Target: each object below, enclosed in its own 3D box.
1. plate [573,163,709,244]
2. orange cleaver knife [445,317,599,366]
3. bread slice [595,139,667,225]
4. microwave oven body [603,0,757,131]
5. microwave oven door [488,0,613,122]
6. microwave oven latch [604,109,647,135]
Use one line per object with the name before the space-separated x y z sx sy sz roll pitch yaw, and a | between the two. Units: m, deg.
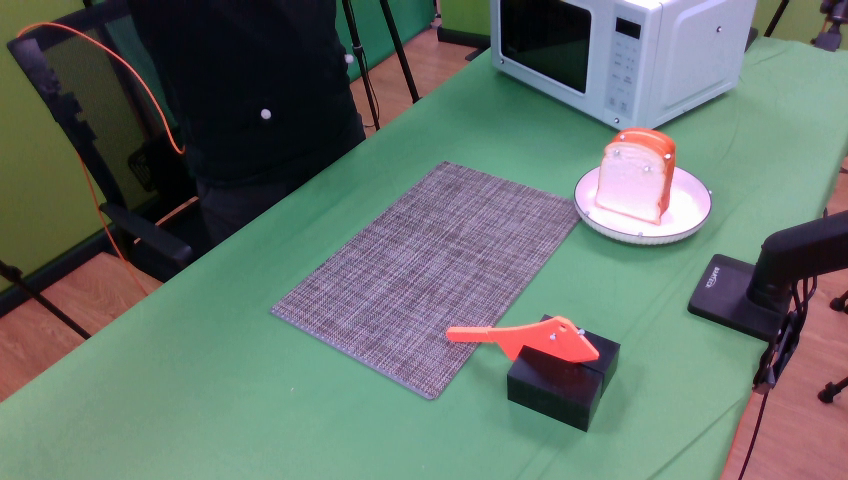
plate | 0.347 -0.059 0.979 0.207 0.039 0.206 -4 41 4
orange cleaver knife | 0.115 0.129 0.751 0.210 0.077 0.012 -11 30 45
bread slice | 0.321 -0.093 0.936 0.106 0.135 0.018 17 44 31
microwave oven body | 0.396 -0.448 1.248 0.327 0.261 0.437 -27 44 -21
microwave oven door | 0.250 -0.412 1.219 0.039 0.245 0.352 -27 44 -21
microwave oven latch | 0.378 -0.225 1.139 0.030 0.029 0.078 -26 43 -20
